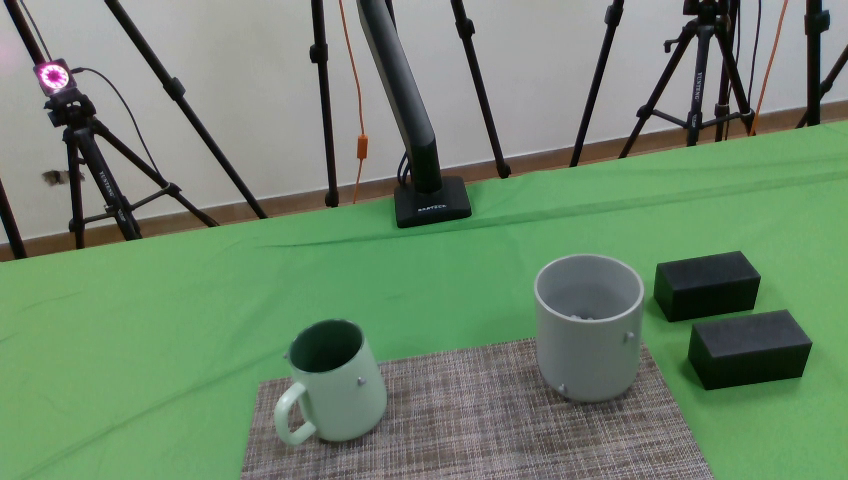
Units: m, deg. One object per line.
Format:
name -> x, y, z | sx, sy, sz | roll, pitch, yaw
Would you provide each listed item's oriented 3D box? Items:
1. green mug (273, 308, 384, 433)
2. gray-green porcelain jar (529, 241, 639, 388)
green mug -> -0.104, 0.145, 0.628 | 0.092, 0.106, 0.125 | 18, 45, 32
gray-green porcelain jar -> 0.165, 0.082, 0.630 | 0.106, 0.128, 0.105 | -7, 37, 5
